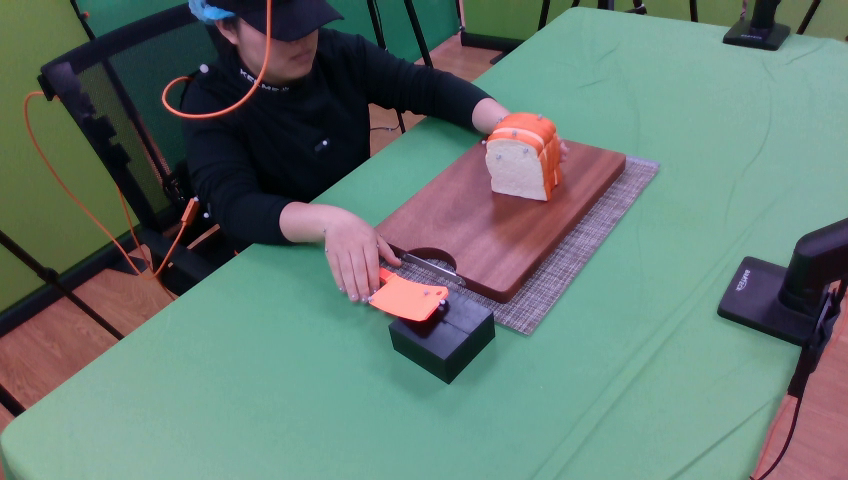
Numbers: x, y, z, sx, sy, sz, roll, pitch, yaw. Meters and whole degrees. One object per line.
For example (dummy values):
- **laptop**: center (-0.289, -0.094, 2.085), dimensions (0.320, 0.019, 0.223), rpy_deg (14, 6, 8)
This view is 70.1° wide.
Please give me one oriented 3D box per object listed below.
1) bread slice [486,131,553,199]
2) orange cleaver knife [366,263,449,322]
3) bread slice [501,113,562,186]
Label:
- **bread slice**: center (0.149, -0.119, 0.973), dimensions (0.104, 0.132, 0.019), rpy_deg (11, 54, 27)
- **orange cleaver knife**: center (-0.042, 0.072, 0.870), dimensions (0.077, 0.012, 0.209), rpy_deg (-37, 28, -23)
- **bread slice**: center (0.176, -0.150, 1.002), dimensions (0.106, 0.135, 0.018), rpy_deg (16, 52, 23)
